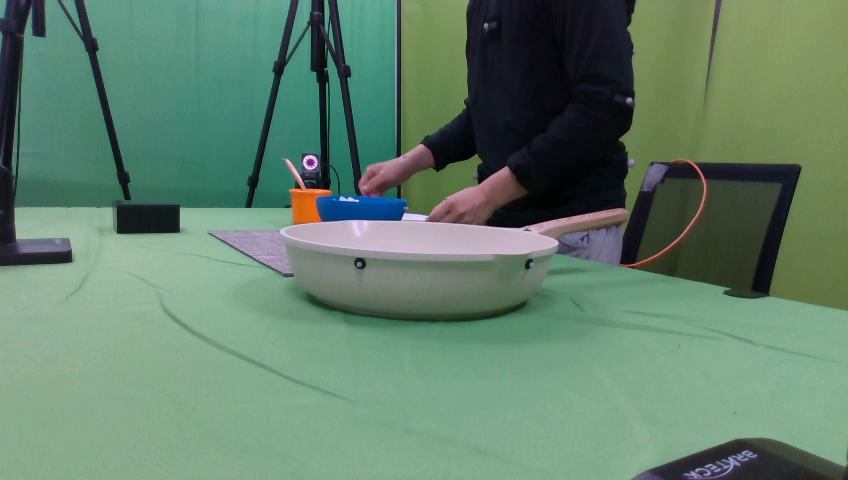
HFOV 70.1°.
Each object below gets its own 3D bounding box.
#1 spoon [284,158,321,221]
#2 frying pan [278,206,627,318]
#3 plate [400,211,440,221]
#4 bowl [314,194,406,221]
[{"bbox_3d":[-0.269,-0.113,1.336,0.042,0.193,0.021,-3,-35,-43],"label":"spoon"},{"bbox_3d":[0.079,0.002,0.705,0.490,0.102,0.305,-12,15,-33],"label":"frying pan"},{"bbox_3d":[-0.073,-0.035,1.196,0.208,0.039,0.207,5,6,0],"label":"plate"},{"bbox_3d":[-0.105,-0.032,0.991,0.151,0.077,0.151,2,7,0],"label":"bowl"}]
